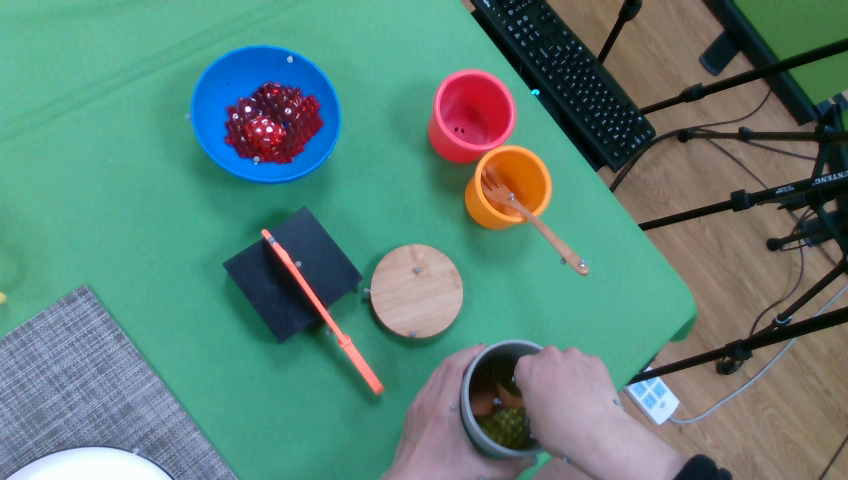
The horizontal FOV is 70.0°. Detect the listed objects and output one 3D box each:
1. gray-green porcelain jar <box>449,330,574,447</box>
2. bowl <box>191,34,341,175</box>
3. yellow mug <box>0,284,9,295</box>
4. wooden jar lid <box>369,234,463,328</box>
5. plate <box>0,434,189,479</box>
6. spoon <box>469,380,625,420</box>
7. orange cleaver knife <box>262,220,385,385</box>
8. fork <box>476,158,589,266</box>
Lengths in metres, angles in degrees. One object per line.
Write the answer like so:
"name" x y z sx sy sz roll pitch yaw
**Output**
"gray-green porcelain jar" 0.083 0.156 0.620 0.106 0.127 0.105 2 70 -5
"bowl" -0.169 -0.135 0.661 0.152 0.077 0.151 2 80 -13
"yellow mug" -0.462 0.023 0.572 0.131 0.064 0.099 24 75 -9
"wooden jar lid" -0.009 0.047 0.696 0.109 0.021 0.108 2 81 -11
"plate" -0.316 0.288 0.570 0.210 0.038 0.208 2 80 -13
"spoon" 0.103 0.159 0.584 0.022 0.193 0.041 7 77 -40
"orange cleaver knife" -0.105 0.068 0.638 0.012 0.076 0.213 -37 114 -14
"fork" 0.116 -0.036 0.672 0.028 0.019 0.205 -21 42 -16
